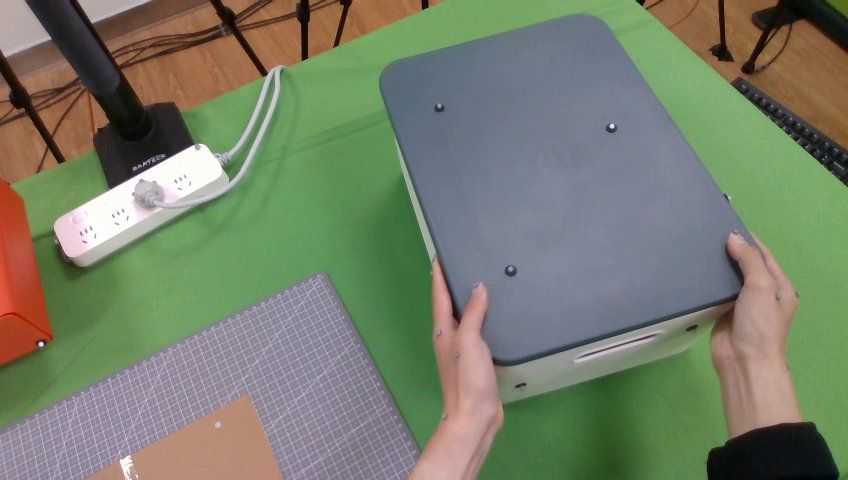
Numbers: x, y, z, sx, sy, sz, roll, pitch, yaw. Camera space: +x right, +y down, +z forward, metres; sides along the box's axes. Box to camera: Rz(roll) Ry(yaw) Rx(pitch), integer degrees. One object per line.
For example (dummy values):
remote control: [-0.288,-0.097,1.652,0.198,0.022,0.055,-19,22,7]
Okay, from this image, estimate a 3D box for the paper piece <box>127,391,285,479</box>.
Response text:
paper piece: [-0.214,0.238,0.603,0.135,0.004,0.134,-26,62,-11]

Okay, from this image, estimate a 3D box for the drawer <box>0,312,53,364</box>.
drawer: [-0.524,0.055,0.641,0.194,0.074,0.209,-26,61,-10]

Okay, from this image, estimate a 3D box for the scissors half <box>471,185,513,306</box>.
scissors half: [0.088,0.002,0.715,0.040,0.013,0.174,16,58,-1]

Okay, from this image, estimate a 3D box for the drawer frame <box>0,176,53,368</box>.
drawer frame: [-0.526,0.054,0.642,0.202,0.083,0.211,-26,61,-11]

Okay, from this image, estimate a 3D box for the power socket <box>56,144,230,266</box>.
power socket: [-0.353,-0.046,0.767,0.227,0.033,0.071,-32,63,-14]

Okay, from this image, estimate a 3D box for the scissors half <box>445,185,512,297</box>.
scissors half: [0.070,-0.005,0.717,0.040,0.013,0.174,27,59,12]

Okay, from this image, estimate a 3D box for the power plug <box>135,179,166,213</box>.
power plug: [-0.330,-0.043,0.737,0.035,0.053,0.072,-23,61,-10]

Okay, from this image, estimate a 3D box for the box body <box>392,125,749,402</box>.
box body: [0.123,-0.035,0.651,0.254,0.162,0.360,-15,60,-6]

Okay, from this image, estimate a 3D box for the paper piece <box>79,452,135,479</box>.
paper piece: [-0.329,0.298,0.577,0.136,0.009,0.137,-28,63,-9]

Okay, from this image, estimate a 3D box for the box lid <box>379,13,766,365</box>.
box lid: [0.120,-0.076,0.581,0.263,0.015,0.367,-16,59,-5]
